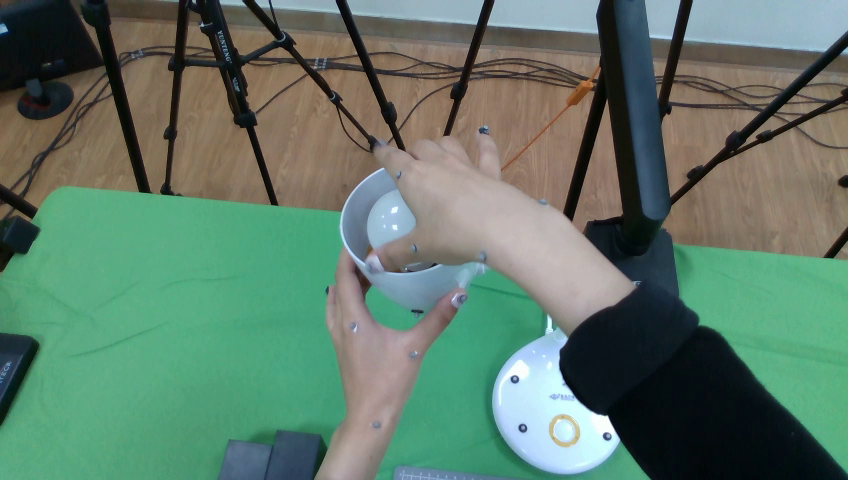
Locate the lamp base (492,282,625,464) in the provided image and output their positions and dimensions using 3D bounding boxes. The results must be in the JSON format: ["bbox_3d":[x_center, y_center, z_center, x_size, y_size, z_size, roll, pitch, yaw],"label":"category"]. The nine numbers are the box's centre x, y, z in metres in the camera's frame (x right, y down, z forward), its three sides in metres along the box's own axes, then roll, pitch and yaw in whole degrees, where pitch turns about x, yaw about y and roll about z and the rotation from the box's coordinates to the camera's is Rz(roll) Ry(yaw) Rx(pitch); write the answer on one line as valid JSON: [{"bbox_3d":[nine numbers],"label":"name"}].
[{"bbox_3d":[0.162,0.140,0.683,0.161,0.182,0.177,-6,55,-4],"label":"lamp base"}]

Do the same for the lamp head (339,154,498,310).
[{"bbox_3d":[0.002,0.005,0.509,0.112,0.124,0.111,-8,56,13],"label":"lamp head"}]

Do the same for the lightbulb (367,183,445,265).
[{"bbox_3d":[-0.009,-0.003,0.486,0.059,0.108,0.059,-6,63,12],"label":"lightbulb"}]
